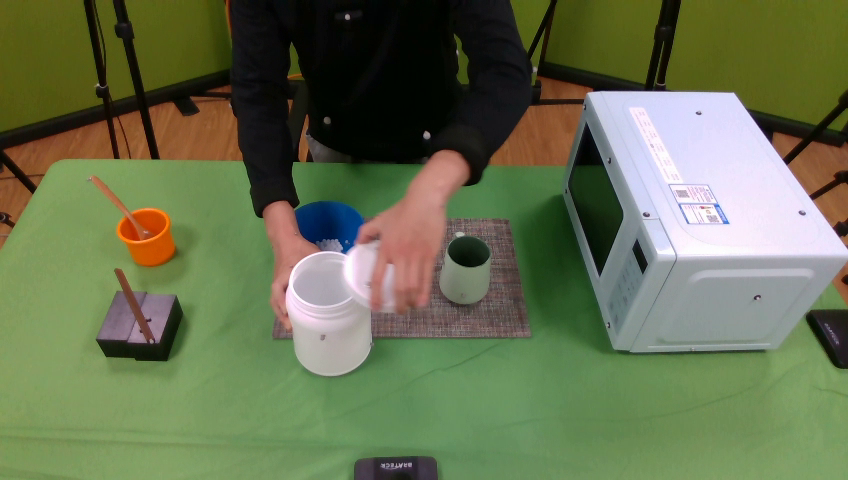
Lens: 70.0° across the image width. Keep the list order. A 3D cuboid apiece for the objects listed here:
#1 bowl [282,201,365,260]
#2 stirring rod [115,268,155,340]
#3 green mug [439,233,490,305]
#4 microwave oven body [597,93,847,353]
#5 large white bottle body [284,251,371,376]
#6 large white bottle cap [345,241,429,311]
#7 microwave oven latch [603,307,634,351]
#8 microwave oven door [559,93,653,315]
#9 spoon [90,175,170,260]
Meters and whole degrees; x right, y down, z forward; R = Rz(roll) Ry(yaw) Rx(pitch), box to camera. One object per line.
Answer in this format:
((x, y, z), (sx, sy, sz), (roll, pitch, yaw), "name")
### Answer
((-0.186, 0.004, 1.138), (0.151, 0.077, 0.150), (3, 46, -3), "bowl")
((-0.479, 0.103, 0.999), (0.014, 0.006, 0.175), (7, 32, -49), "stirring rod")
((0.072, 0.044, 1.102), (0.092, 0.105, 0.124), (-6, 46, -9), "green mug")
((0.475, -0.041, 1.109), (0.326, 0.261, 0.438), (-1, 45, -4), "microwave oven body")
((-0.150, 0.116, 0.959), (0.131, 0.185, 0.130), (2, 48, -2), "large white bottle body")
((-0.050, 0.047, 0.826), (0.115, 0.018, 0.114), (10, 45, -10), "large white bottle cap")
((0.332, 0.153, 1.044), (0.030, 0.029, 0.078), (0, 45, -4), "microwave oven latch")
((0.327, -0.074, 1.123), (0.039, 0.245, 0.353), (-1, 46, -5), "microwave oven door")
((-0.539, -0.042, 1.111), (0.021, 0.194, 0.041), (-15, 25, 51), "spoon")
